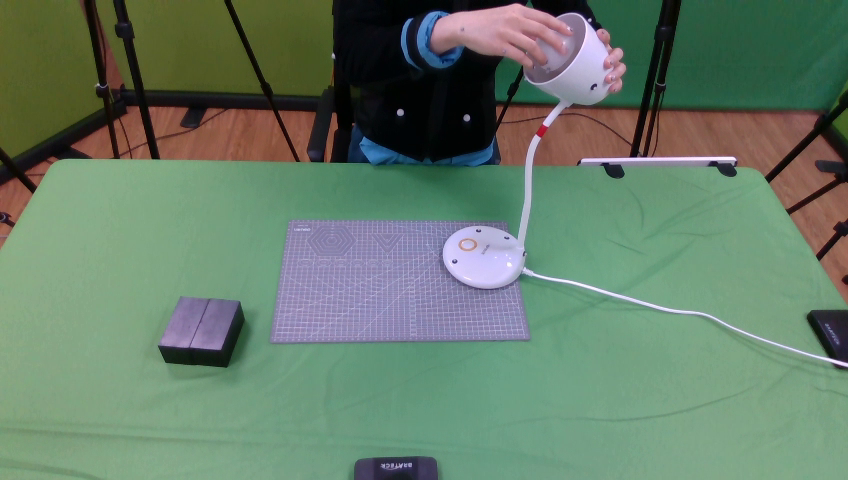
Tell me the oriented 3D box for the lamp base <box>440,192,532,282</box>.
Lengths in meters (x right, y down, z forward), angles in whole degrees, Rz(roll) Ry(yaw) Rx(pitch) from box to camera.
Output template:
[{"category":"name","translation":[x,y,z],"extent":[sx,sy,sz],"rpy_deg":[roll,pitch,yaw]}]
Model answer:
[{"category":"lamp base","translation":[0.128,-0.032,1.123],"extent":[0.179,0.181,0.159],"rpy_deg":[11,46,2]}]

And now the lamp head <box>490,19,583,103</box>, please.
[{"category":"lamp head","translation":[0.164,-0.249,0.876],"extent":[0.123,0.113,0.111],"rpy_deg":[9,45,-14]}]

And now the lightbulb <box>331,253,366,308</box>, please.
[{"category":"lightbulb","translation":[-0.131,0.074,1.094],"extent":[0.059,0.060,0.107],"rpy_deg":[-15,65,-18]}]
